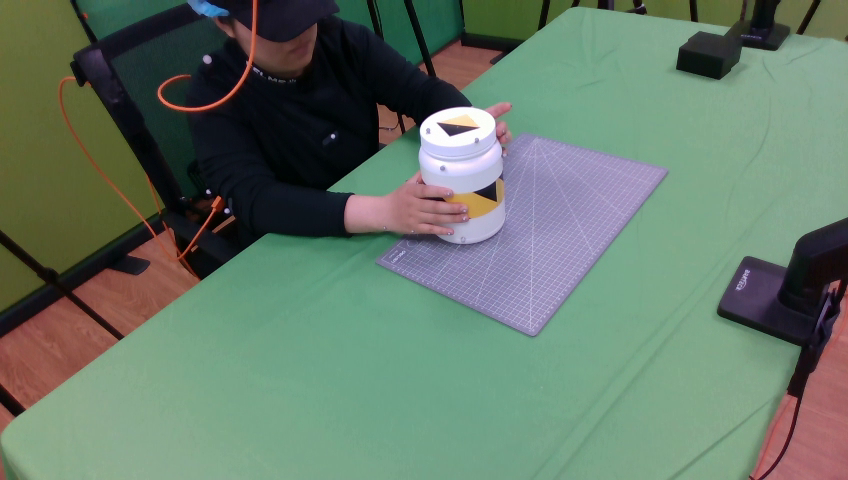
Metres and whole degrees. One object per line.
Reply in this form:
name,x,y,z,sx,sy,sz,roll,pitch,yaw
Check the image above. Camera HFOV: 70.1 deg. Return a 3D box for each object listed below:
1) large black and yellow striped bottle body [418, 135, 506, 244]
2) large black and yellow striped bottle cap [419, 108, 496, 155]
large black and yellow striped bottle body,0.061,-0.100,0.959,0.131,0.185,0.130,-5,40,5
large black and yellow striped bottle cap,0.050,-0.164,0.906,0.115,0.019,0.114,-4,39,4
